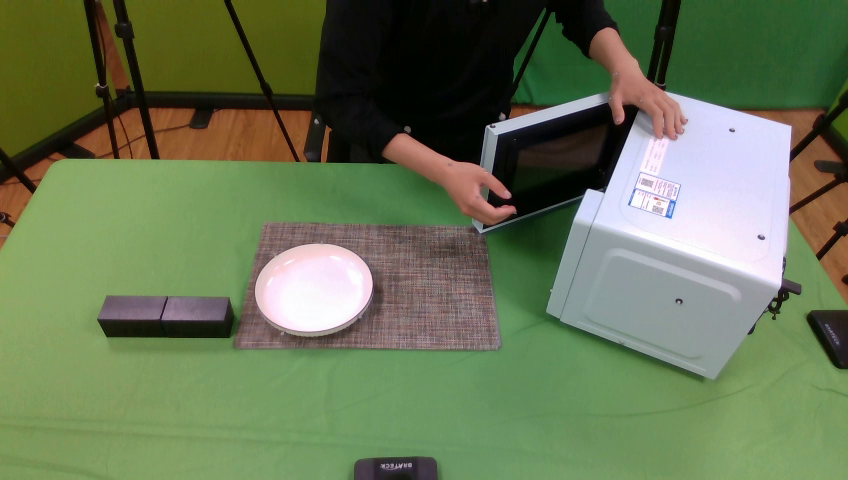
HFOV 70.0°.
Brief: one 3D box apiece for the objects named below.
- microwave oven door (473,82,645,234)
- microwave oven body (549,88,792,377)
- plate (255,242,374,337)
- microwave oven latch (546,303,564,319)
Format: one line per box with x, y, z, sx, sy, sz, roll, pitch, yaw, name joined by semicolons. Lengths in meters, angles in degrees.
0.266;-0.163;1.196;0.356;0.245;0.039;-20;49;-21;microwave oven door
0.456;-0.028;1.088;0.325;0.261;0.440;20;47;16;microwave oven body
-0.192;0.090;1.079;0.208;0.039;0.206;2;46;-2;plate
0.242;0.102;1.081;0.030;0.029;0.079;22;48;17;microwave oven latch
